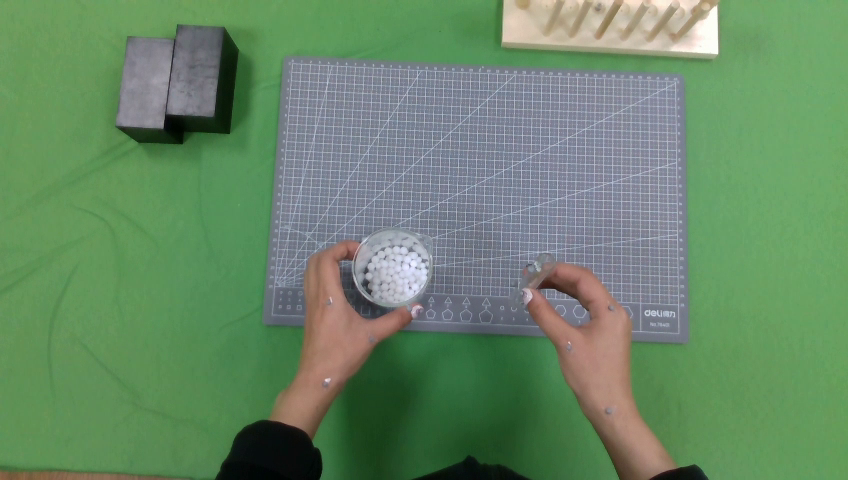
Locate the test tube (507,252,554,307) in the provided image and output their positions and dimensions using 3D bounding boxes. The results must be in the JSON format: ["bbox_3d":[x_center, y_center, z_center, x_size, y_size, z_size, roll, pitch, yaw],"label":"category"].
[{"bbox_3d":[0.093,0.039,0.543,0.017,0.151,0.017,1,72,-1],"label":"test tube"}]

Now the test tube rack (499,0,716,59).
[{"bbox_3d":[0.207,-0.252,0.655,0.242,0.085,0.066,3,81,0],"label":"test tube rack"}]

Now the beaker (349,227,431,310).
[{"bbox_3d":[-0.028,0.031,0.600,0.084,0.100,0.074,-39,84,-6],"label":"beaker"}]

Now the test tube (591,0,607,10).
[{"bbox_3d":[0.198,-0.278,0.609,0.017,0.150,0.017,1,78,-3],"label":"test tube"}]
